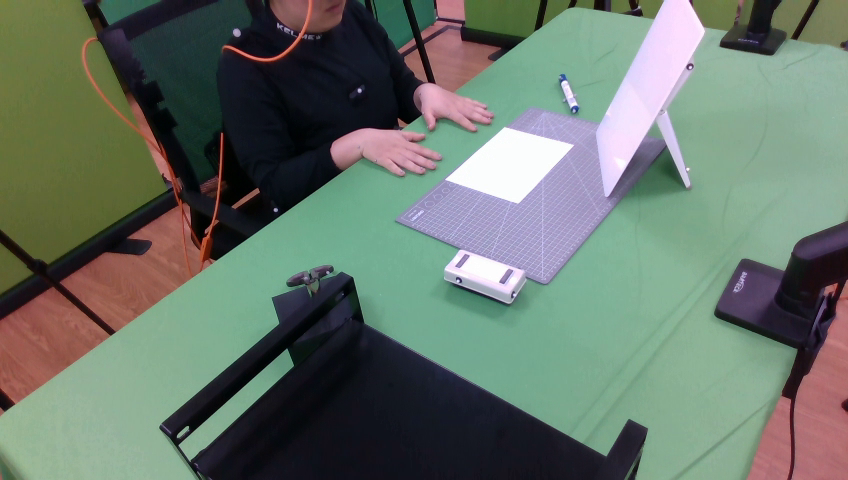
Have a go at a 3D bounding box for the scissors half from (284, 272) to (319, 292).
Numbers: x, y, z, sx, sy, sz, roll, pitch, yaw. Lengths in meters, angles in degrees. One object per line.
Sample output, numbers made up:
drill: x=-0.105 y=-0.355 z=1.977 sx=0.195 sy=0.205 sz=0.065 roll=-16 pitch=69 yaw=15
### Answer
scissors half: x=-0.171 y=0.063 z=0.868 sx=0.040 sy=0.013 sz=0.174 roll=-12 pitch=7 yaw=-21

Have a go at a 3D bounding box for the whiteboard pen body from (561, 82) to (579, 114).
whiteboard pen body: x=0.310 y=-0.311 z=1.298 sx=0.017 sy=0.017 sz=0.140 roll=-6 pitch=41 yaw=2

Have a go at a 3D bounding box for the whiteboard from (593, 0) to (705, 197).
whiteboard: x=0.421 y=-0.227 z=1.009 sx=0.144 sy=0.305 sz=0.216 roll=17 pitch=41 yaw=-3

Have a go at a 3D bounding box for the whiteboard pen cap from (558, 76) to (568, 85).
whiteboard pen cap: x=0.309 y=-0.350 z=1.340 sx=0.018 sy=0.018 sz=0.033 roll=-6 pitch=41 yaw=2

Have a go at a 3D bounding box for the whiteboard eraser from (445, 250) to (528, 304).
whiteboard eraser: x=0.090 y=0.056 z=0.882 sx=0.112 sy=0.042 sz=0.056 roll=18 pitch=44 yaw=27

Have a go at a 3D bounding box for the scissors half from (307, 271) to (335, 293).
scissors half: x=-0.152 y=0.061 z=0.872 sx=0.040 sy=0.013 sz=0.175 roll=-5 pitch=6 yaw=-4
